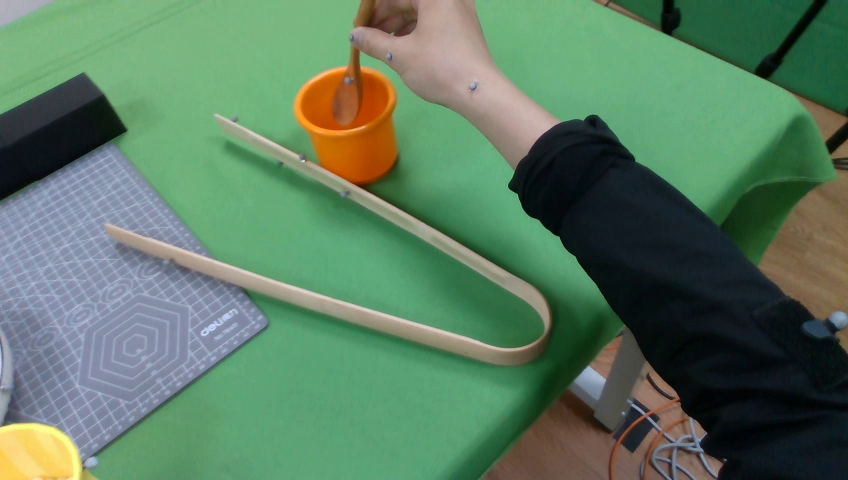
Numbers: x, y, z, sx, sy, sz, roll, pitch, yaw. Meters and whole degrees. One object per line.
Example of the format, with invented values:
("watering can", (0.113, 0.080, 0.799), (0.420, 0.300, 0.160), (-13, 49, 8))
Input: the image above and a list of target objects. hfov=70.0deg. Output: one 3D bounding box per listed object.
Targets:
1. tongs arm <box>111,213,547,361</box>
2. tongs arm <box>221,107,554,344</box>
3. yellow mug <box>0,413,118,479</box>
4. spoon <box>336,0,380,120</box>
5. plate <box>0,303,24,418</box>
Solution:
("tongs arm", (-0.094, 0.033, 0.492), (0.386, 0.028, 0.028), (16, 53, 14))
("tongs arm", (-0.053, -0.026, 0.529), (0.382, 0.027, 0.050), (28, 60, 21))
("yellow mug", (-0.241, 0.164, 0.333), (0.131, 0.064, 0.099), (-29, 47, -25))
("spoon", (-0.048, -0.164, 0.495), (0.022, 0.194, 0.041), (-16, 70, -22))
("plate", (-0.398, 0.126, 0.447), (0.207, 0.039, 0.205), (-2, 55, 4))
